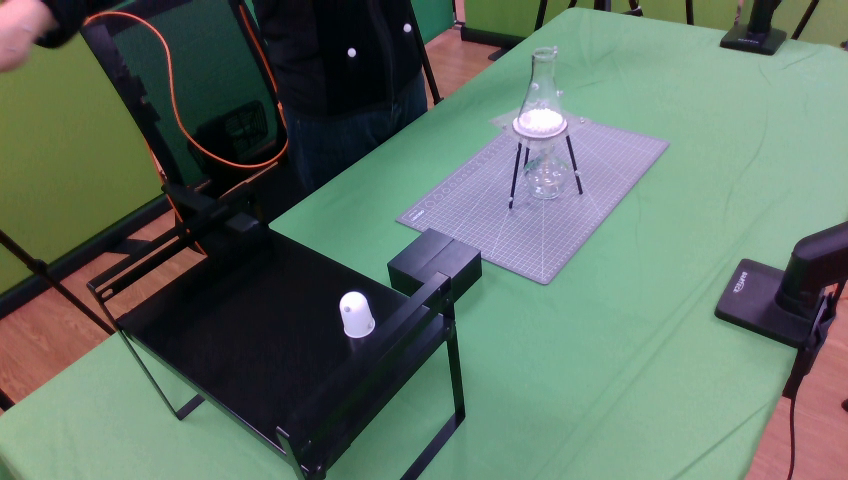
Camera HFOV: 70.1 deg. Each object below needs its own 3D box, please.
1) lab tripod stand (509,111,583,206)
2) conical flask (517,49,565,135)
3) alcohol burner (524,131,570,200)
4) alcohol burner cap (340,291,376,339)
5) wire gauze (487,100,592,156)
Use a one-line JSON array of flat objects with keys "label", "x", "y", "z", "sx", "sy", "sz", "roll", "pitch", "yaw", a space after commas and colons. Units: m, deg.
[{"label": "lab tripod stand", "x": 0.198, "y": -0.139, "z": 1.019, "sx": 0.148, "sy": 0.132, "sz": 0.147, "roll": -3, "pitch": 39, "yaw": 3}, {"label": "conical flask", "x": 0.183, "y": -0.231, "z": 0.936, "sx": 0.075, "sy": 0.122, "sz": 0.075, "roll": -4, "pitch": 40, "yaw": 4}, {"label": "alcohol burner", "x": 0.208, "y": -0.129, "z": 1.021, "sx": 0.078, "sy": 0.119, "sz": 0.077, "roll": -4, "pitch": 39, "yaw": 4}, {"label": "alcohol burner cap", "x": -0.067, "y": 0.072, "z": 0.605, "sx": 0.034, "sy": 0.048, "sz": 0.033, "roll": -5, "pitch": 42, "yaw": 5}, {"label": "wire gauze", "x": 0.185, "y": -0.187, "z": 0.974, "sx": 0.122, "sy": 0.011, "sz": 0.124, "roll": -28, "pitch": 47, "yaw": -22}]
